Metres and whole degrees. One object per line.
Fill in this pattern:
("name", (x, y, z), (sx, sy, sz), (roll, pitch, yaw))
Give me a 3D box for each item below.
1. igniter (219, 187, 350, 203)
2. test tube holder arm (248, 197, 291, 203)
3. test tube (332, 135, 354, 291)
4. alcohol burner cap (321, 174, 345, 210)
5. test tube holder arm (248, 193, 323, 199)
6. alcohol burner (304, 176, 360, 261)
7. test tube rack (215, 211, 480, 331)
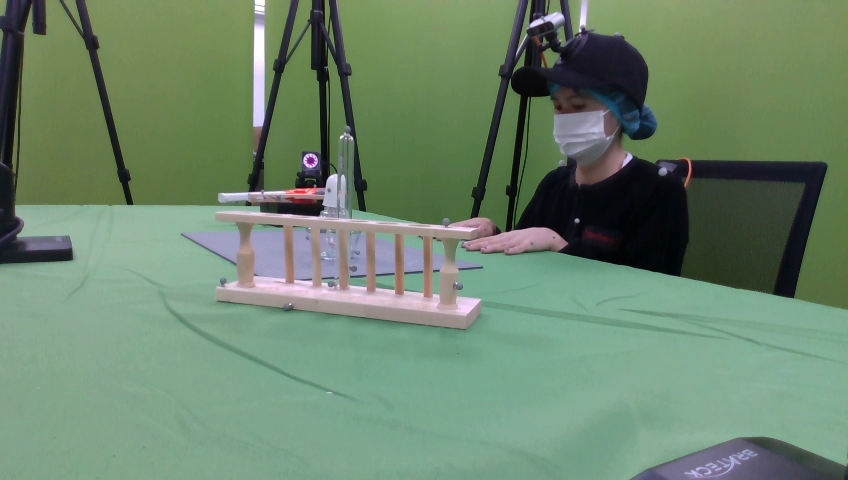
("igniter", (-0.285, -0.095, 1.268), (0.278, 0.025, 0.057), (-6, 11, -34))
("test tube holder arm", (-0.303, -0.080, 1.191), (0.088, 0.010, 0.015), (-7, 18, -39))
("test tube", (-0.078, -0.025, 0.581), (0.017, 0.150, 0.017), (3, 7, 0))
("alcohol burner cap", (-0.124, -0.067, 0.833), (0.034, 0.048, 0.034), (7, 7, -1))
("test tube holder arm", (-0.268, -0.089, 1.218), (0.179, 0.013, 0.015), (-6, 18, -40))
("alcohol burner", (-0.126, -0.031, 0.838), (0.078, 0.119, 0.078), (3, 5, 0))
("test tube rack", (-0.071, 0.023, 0.565), (0.242, 0.085, 0.067), (5, 7, 16))
